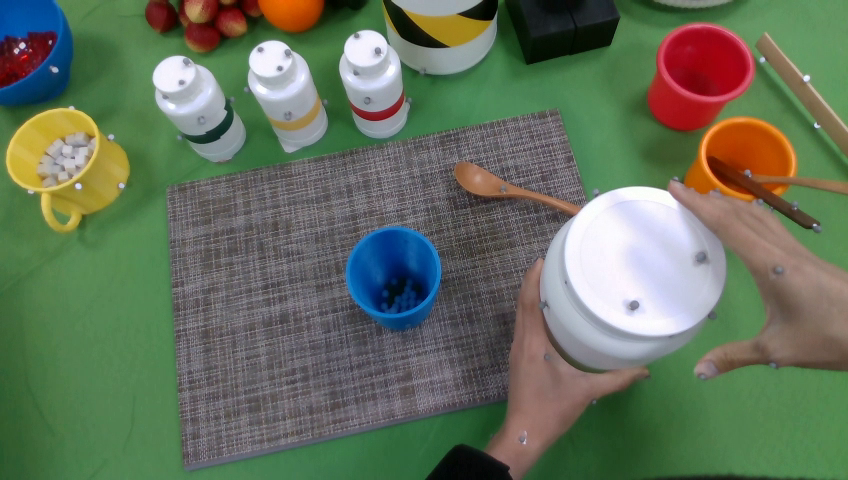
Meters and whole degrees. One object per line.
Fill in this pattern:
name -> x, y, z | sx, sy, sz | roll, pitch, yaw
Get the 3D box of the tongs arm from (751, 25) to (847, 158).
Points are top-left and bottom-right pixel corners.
tongs arm -> 0.477, -0.083, 0.631 | 0.051, 0.027, 0.382 | -24, 72, -8

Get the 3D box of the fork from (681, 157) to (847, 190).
fork -> 0.338, -0.059, 0.570 | 0.028, 0.019, 0.205 | -50, 31, -13

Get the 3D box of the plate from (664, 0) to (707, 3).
plate -> 0.311, -0.371, 0.740 | 0.209, 0.038, 0.207 | -1, 71, 2

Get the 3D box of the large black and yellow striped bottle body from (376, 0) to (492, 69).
large black and yellow striped bottle body -> 0.009, -0.288, 0.648 | 0.131, 0.185, 0.130 | -1, 70, 3

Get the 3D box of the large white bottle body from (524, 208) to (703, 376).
large white bottle body -> 0.160, 0.040, 0.520 | 0.130, 0.186, 0.129 | -1, 70, 3

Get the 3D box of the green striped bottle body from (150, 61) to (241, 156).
green striped bottle body -> -0.244, -0.143, 0.644 | 0.063, 0.120, 0.063 | -1, 70, 3

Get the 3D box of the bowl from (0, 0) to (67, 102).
bowl -> -0.479, -0.215, 0.703 | 0.151, 0.077, 0.150 | -1, 71, 2

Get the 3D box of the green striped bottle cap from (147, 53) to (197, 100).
green striped bottle cap -> -0.248, -0.161, 0.595 | 0.044, 0.020, 0.044 | -1, 69, 2

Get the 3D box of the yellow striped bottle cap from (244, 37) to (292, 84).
yellow striped bottle cap -> -0.154, -0.177, 0.596 | 0.044, 0.019, 0.044 | 0, 72, 2

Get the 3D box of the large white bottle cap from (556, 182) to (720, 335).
large white bottle cap -> 0.154, 0.011, 0.441 | 0.115, 0.018, 0.114 | -1, 70, 3

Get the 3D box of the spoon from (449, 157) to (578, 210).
spoon -> 0.118, -0.047, 0.640 | 0.193, 0.022, 0.041 | 18, 47, 8

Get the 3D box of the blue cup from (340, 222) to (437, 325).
blue cup -> -0.029, 0.041, 0.575 | 0.092, 0.101, 0.092 | 0, 70, 2

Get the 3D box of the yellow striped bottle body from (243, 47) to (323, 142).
yellow striped bottle body -> -0.151, -0.160, 0.645 | 0.063, 0.121, 0.062 | -1, 70, 4

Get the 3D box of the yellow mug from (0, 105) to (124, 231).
yellow mug -> -0.391, -0.073, 0.655 | 0.100, 0.064, 0.130 | -2, 71, 1

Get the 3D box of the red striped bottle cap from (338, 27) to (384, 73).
red striped bottle cap -> -0.062, -0.187, 0.595 | 0.044, 0.018, 0.044 | 1, 68, -1

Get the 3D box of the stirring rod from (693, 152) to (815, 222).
stirring rod -> 0.307, -0.055, 0.577 | 0.014, 0.006, 0.174 | -10, 27, -3

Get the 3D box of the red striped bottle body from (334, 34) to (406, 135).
red striped bottle body -> -0.057, -0.169, 0.644 | 0.063, 0.120, 0.062 | -2, 69, 6
